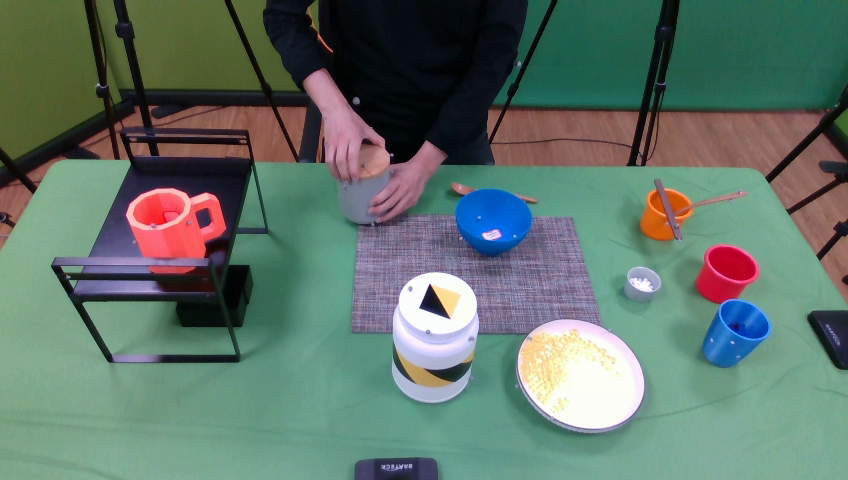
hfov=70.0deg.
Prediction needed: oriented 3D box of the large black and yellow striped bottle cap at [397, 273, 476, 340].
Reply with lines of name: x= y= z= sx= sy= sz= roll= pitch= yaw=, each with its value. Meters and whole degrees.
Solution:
large black and yellow striped bottle cap: x=0.018 y=0.094 z=0.878 sx=0.115 sy=0.019 sz=0.114 roll=3 pitch=46 yaw=-3

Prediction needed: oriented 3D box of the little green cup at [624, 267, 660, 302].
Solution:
little green cup: x=0.406 y=0.084 z=1.135 sx=0.061 sy=0.039 sz=0.061 roll=3 pitch=45 yaw=-3

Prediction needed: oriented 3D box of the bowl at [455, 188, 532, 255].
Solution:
bowl: x=0.131 y=-0.025 z=1.186 sx=0.151 sy=0.077 sz=0.150 roll=2 pitch=46 yaw=-2

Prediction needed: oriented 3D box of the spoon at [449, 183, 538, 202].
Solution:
spoon: x=0.150 y=-0.101 z=1.306 sx=0.194 sy=0.022 sz=0.041 roll=7 pitch=27 yaw=2

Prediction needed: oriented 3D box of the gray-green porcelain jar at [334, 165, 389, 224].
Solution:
gray-green porcelain jar: x=-0.123 y=-0.104 z=1.211 sx=0.106 sy=0.127 sz=0.105 roll=1 pitch=43 yaw=-1

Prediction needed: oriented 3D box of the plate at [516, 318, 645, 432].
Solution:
plate: x=0.253 y=0.221 z=0.992 sx=0.209 sy=0.038 sz=0.208 roll=2 pitch=46 yaw=-2

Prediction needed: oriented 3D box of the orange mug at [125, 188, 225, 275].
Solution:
orange mug: x=-0.357 y=-0.019 z=0.884 sx=0.126 sy=0.101 sz=0.083 roll=-29 pitch=54 yaw=-23

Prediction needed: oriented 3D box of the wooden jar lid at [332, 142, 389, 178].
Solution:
wooden jar lid: x=-0.122 y=-0.150 z=1.168 sx=0.108 sy=0.021 sz=0.107 roll=1 pitch=44 yaw=-1

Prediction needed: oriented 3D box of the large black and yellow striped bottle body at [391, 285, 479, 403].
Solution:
large black and yellow striped bottle body: x=0.015 y=0.153 z=0.938 sx=0.131 sy=0.185 sz=0.130 roll=2 pitch=46 yaw=-2

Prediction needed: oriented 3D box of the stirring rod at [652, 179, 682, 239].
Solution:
stirring rod: x=0.481 y=-0.065 z=1.204 sx=0.014 sy=0.006 sz=0.175 roll=1 pitch=46 yaw=0

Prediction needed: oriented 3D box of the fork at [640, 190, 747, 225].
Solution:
fork: x=0.533 y=-0.064 z=1.211 sx=0.207 sy=0.019 sz=0.028 roll=-22 pitch=28 yaw=38

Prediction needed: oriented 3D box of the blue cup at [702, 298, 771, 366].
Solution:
blue cup: x=0.519 y=0.162 z=1.025 sx=0.093 sy=0.101 sz=0.092 roll=3 pitch=46 yaw=-3
